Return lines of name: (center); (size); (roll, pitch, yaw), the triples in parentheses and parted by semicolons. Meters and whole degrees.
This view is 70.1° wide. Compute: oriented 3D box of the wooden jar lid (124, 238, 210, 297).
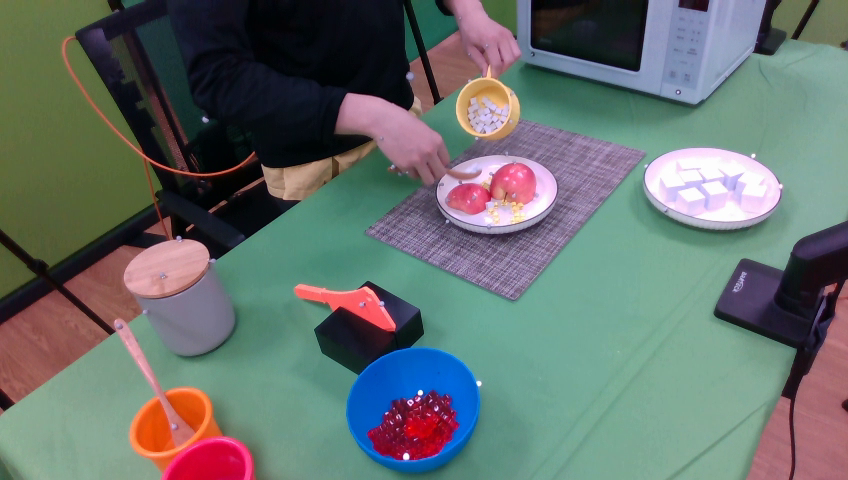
wooden jar lid: (-0.335, 0.039, 0.794); (0.108, 0.021, 0.108); (-2, 40, 2)

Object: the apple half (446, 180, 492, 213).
apple half: (0.077, -0.084, 1.029); (0.081, 0.033, 0.081); (-4, 43, 4)

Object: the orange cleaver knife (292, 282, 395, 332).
orange cleaver knife: (-0.116, 0.091, 0.835); (0.209, 0.077, 0.012); (2, 32, 48)

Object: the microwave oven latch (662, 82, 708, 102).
microwave oven latch: (0.518, -0.298, 1.202); (0.078, 0.029, 0.030); (28, 53, 35)

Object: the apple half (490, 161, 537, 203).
apple half: (0.154, -0.106, 1.030); (0.080, 0.053, 0.075); (21, 46, 30)

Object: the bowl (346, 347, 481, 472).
bowl: (-0.008, 0.205, 0.691); (0.151, 0.077, 0.150); (-4, 40, 4)

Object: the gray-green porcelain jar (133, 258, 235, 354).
gray-green porcelain jar: (-0.327, 0.086, 0.836); (0.106, 0.127, 0.105); (-4, 41, 4)

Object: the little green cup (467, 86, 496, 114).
little green cup: (0.123, -0.297, 1.285); (0.061, 0.039, 0.061); (-6, 41, 6)

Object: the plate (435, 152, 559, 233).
plate: (0.124, -0.078, 1.026); (0.209, 0.038, 0.208); (-4, 40, 4)

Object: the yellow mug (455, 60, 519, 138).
yellow mug: (0.113, -0.247, 1.053); (0.099, 0.131, 0.064); (9, 6, 18)

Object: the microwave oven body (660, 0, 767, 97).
microwave oven body: (0.474, -0.516, 1.313); (0.438, 0.261, 0.327); (26, 51, 34)

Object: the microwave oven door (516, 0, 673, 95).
microwave oven door: (0.344, -0.458, 1.257); (0.353, 0.245, 0.039); (26, 51, 33)

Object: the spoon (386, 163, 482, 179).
spoon: (0.018, -0.111, 0.947); (0.195, 0.021, 0.041); (2, -1, -40)

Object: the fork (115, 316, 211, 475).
fork: (-0.308, 0.179, 0.708); (0.028, 0.018, 0.207); (-30, 89, -22)

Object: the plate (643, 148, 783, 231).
plate: (0.464, -0.080, 0.986); (0.207, 0.039, 0.206); (-4, 41, 4)
